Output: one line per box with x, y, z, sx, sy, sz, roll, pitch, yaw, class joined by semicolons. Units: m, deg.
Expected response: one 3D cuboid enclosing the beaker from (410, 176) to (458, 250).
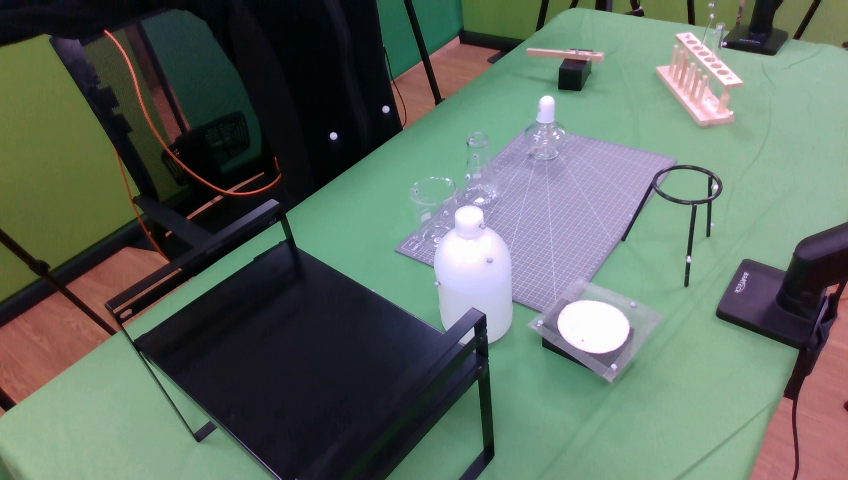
0.022;-0.041;0.963;0.073;0.101;0.084;28;51;34;beaker

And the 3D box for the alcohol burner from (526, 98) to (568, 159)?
0.228;-0.210;1.118;0.078;0.119;0.077;-5;43;5;alcohol burner

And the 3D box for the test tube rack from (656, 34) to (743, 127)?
0.553;-0.330;1.233;0.067;0.085;0.241;-7;40;2;test tube rack

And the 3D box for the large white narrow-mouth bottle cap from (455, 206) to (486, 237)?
0.057;-0.023;0.734;0.038;0.024;0.037;-4;40;4;large white narrow-mouth bottle cap

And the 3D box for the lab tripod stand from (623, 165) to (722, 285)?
0.365;-0.030;0.875;0.148;0.132;0.147;-6;41;6;lab tripod stand

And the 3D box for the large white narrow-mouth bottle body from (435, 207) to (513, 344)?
0.065;0.041;0.791;0.102;0.195;0.101;-4;41;4;large white narrow-mouth bottle body

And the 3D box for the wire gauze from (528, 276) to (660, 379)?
0.214;0.103;0.763;0.124;0.011;0.122;30;52;35;wire gauze

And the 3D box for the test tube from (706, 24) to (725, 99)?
0.564;-0.342;1.168;0.017;0.151;0.017;-7;39;6;test tube

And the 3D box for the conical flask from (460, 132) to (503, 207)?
0.096;-0.123;1.030;0.075;0.122;0.075;-4;40;4;conical flask

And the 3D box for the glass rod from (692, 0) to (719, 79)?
0.561;-0.401;1.214;0.008;0.200;0.008;-1;48;2;glass rod

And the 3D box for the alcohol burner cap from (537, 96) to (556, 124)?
0.223;-0.238;1.095;0.034;0.048;0.033;-2;37;2;alcohol burner cap

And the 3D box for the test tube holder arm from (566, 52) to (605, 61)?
0.352;-0.401;1.325;0.087;0.015;0.010;15;38;31;test tube holder arm

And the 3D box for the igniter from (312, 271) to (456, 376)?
-0.068;0.111;0.859;0.274;0.025;0.057;27;61;34;igniter

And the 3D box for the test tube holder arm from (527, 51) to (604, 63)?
0.311;-0.408;1.344;0.177;0.015;0.013;14;38;30;test tube holder arm
